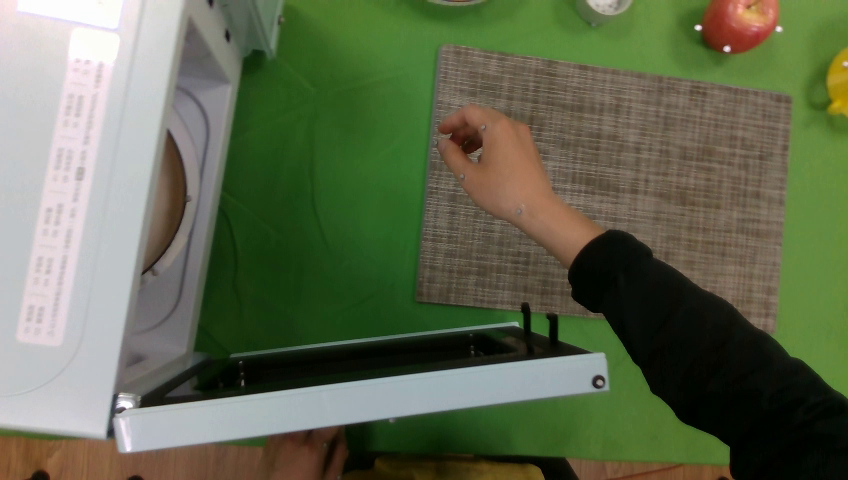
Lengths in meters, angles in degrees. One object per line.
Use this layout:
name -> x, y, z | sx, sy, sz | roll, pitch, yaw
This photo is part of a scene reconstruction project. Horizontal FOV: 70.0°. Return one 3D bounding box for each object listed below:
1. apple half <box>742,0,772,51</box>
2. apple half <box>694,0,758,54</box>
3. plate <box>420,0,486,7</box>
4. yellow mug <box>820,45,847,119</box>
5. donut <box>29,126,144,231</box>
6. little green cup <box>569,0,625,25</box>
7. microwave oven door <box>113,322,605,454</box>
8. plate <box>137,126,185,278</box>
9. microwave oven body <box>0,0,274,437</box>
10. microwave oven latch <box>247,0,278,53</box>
apple half -> 0.392, -0.266, 0.726 | 0.033, 0.081, 0.081 | -3, 88, -3
apple half -> 0.353, -0.263, 0.722 | 0.053, 0.074, 0.081 | -2, 92, -3
plate -> 0.027, -0.367, 0.697 | 0.208, 0.039, 0.207 | 0, 88, -8
yellow mug -> 0.549, -0.195, 0.750 | 0.131, 0.064, 0.100 | -36, 93, -6
donut -> -0.314, -0.056, 0.566 | 0.099, 0.048, 0.099 | 0, 90, -8
little green cup -> 0.204, -0.288, 0.719 | 0.062, 0.038, 0.061 | 0, 88, -7
microwave oven door -> -0.051, 0.121, 0.550 | 0.356, 0.243, 0.039 | -5, 88, -8
plate -> -0.333, -0.048, 0.574 | 0.209, 0.038, 0.209 | 0, 88, -9
microwave oven body -> -0.331, -0.096, 0.523 | 0.327, 0.260, 0.441 | 9, 88, -8
microwave oven latch -> -0.173, -0.244, 0.646 | 0.030, 0.029, 0.079 | 11, 87, -8
